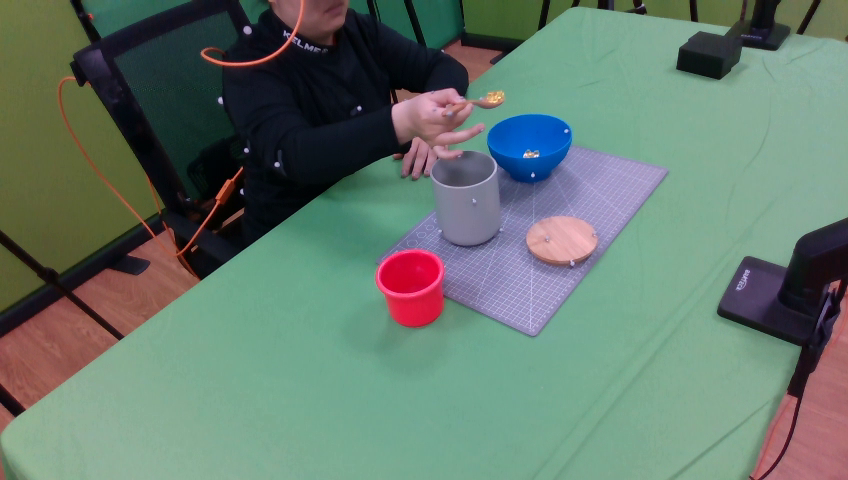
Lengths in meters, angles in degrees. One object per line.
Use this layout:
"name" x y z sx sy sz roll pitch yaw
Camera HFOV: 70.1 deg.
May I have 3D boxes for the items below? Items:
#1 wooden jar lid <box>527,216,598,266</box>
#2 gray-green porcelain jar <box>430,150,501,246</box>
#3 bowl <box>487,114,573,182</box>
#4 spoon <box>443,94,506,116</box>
"wooden jar lid" 0.214 0.003 0.937 0.108 0.021 0.108 -4 40 4
"gray-green porcelain jar" 0.069 -0.062 0.959 0.106 0.127 0.105 -5 40 5
"bowl" 0.190 -0.156 1.085 0.151 0.077 0.150 -5 40 5
"spoon" 0.075 -0.207 0.920 0.041 0.021 0.195 11 20 28
